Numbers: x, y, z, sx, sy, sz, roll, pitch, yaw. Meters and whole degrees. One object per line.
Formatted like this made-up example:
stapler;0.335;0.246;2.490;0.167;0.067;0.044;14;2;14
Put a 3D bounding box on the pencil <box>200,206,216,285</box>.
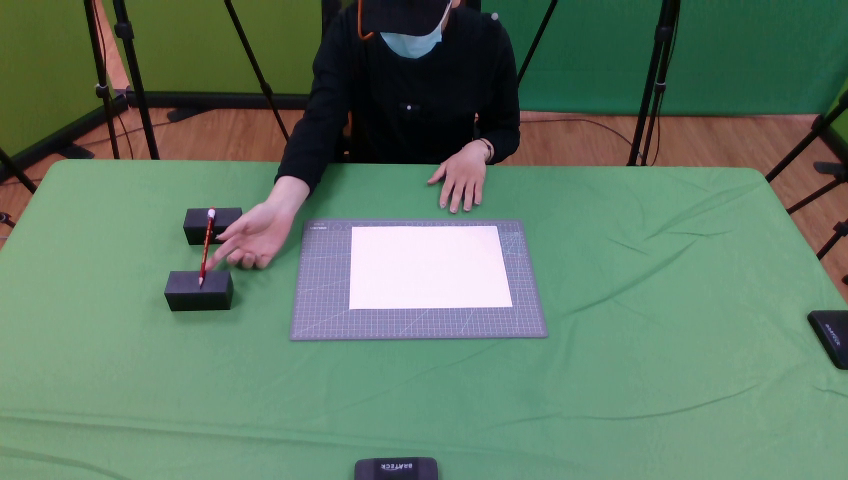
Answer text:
pencil;-0.393;0.007;1.097;0.012;0.012;0.192;-3;48;-7
